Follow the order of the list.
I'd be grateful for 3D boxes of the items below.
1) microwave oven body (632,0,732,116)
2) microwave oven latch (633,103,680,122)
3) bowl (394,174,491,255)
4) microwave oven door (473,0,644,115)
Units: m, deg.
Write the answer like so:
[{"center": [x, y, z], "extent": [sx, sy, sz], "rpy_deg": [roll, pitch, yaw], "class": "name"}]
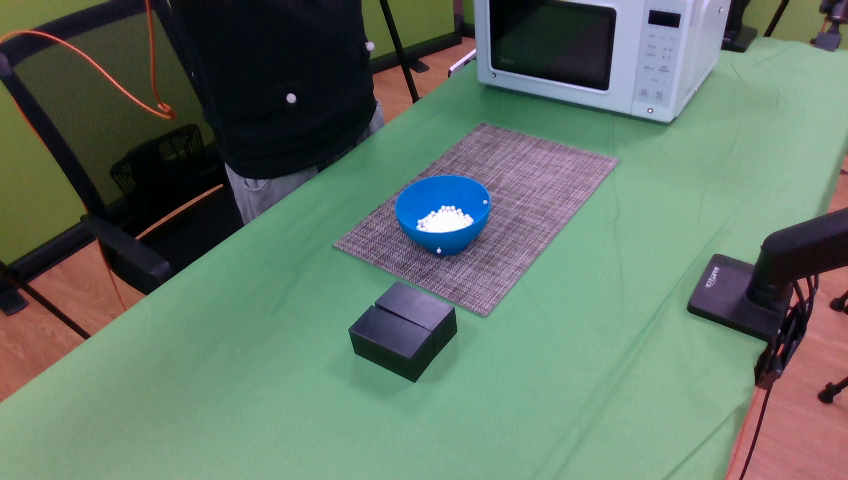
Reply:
[{"center": [0.377, -0.462, 1.267], "extent": [0.438, 0.261, 0.327], "rpy_deg": [21, 48, 30], "class": "microwave oven body"}, {"center": [0.443, -0.249, 1.157], "extent": [0.078, 0.029, 0.030], "rpy_deg": [21, 49, 30], "class": "microwave oven latch"}, {"center": [0.032, -0.030, 0.949], "extent": [0.151, 0.077, 0.150], "rpy_deg": [-4, 40, 4], "class": "bowl"}, {"center": [0.257, -0.396, 1.199], "extent": [0.353, 0.245, 0.039], "rpy_deg": [21, 48, 29], "class": "microwave oven door"}]
